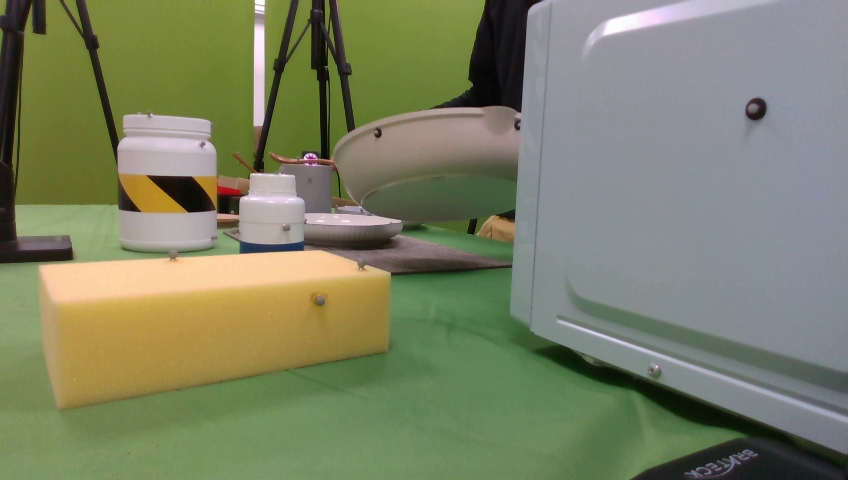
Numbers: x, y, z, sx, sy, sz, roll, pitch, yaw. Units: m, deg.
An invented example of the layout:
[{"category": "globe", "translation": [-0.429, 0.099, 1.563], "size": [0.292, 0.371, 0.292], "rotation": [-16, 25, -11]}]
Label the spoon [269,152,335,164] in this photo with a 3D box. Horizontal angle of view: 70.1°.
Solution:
[{"category": "spoon", "translation": [-0.213, -0.160, 1.224], "size": [0.194, 0.021, 0.041], "rotation": [3, 14, -15]}]

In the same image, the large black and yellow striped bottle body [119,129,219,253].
[{"category": "large black and yellow striped bottle body", "translation": [-0.367, -0.080, 0.876], "size": [0.131, 0.184, 0.130], "rotation": [2, 7, 0]}]

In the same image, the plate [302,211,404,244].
[{"category": "plate", "translation": [-0.139, -0.022, 1.021], "size": [0.209, 0.038, 0.209], "rotation": [2, 8, 0]}]

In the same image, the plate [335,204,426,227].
[{"category": "plate", "translation": [-0.089, -0.053, 1.309], "size": [0.208, 0.039, 0.207], "rotation": [2, 8, 0]}]

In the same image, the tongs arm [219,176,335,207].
[{"category": "tongs arm", "translation": [-0.286, -0.104, 1.445], "size": [0.389, 0.027, 0.028], "rotation": [9, -4, -23]}]

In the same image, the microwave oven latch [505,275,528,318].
[{"category": "microwave oven latch", "translation": [0.100, 0.041, 0.472], "size": [0.079, 0.029, 0.030], "rotation": [-2, 8, -31]}]

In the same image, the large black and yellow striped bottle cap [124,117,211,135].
[{"category": "large black and yellow striped bottle cap", "translation": [-0.366, -0.163, 0.866], "size": [0.115, 0.019, 0.115], "rotation": [3, 7, 0]}]

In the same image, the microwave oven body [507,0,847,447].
[{"category": "microwave oven body", "translation": [0.331, -0.042, 0.425], "size": [0.444, 0.260, 0.324], "rotation": [-2, 8, -31]}]

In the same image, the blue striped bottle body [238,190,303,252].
[{"category": "blue striped bottle body", "translation": [-0.153, -0.007, 0.606], "size": [0.063, 0.120, 0.063], "rotation": [2, 8, 0]}]

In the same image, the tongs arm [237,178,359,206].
[{"category": "tongs arm", "translation": [-0.242, -0.095, 1.374], "size": [0.387, 0.026, 0.050], "rotation": [9, 0, -37]}]

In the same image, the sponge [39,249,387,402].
[{"category": "sponge", "translation": [-0.142, 0.047, 0.420], "size": [0.208, 0.061, 0.117], "rotation": [-3, 8, -36]}]

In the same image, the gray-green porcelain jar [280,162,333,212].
[{"category": "gray-green porcelain jar", "translation": [-0.238, -0.092, 1.221], "size": [0.106, 0.126, 0.106], "rotation": [2, 7, 0]}]

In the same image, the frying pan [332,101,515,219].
[{"category": "frying pan", "translation": [0.124, -0.102, 0.822], "size": [0.490, 0.102, 0.306], "rotation": [-8, -8, -23]}]

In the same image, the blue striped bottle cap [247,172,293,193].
[{"category": "blue striped bottle cap", "translation": [-0.152, -0.057, 0.598], "size": [0.044, 0.020, 0.044], "rotation": [3, 6, 0]}]

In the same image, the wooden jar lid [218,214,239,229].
[{"category": "wooden jar lid", "translation": [-0.404, -0.037, 1.169], "size": [0.108, 0.020, 0.108], "rotation": [3, 7, 0]}]

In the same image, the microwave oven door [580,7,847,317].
[{"category": "microwave oven door", "translation": [0.295, -0.067, 0.570], "size": [0.358, 0.243, 0.039], "rotation": [-3, 9, -31]}]

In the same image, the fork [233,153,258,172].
[{"category": "fork", "translation": [-0.396, -0.143, 1.486], "size": [0.028, 0.018, 0.208], "rotation": [21, -25, 45]}]
